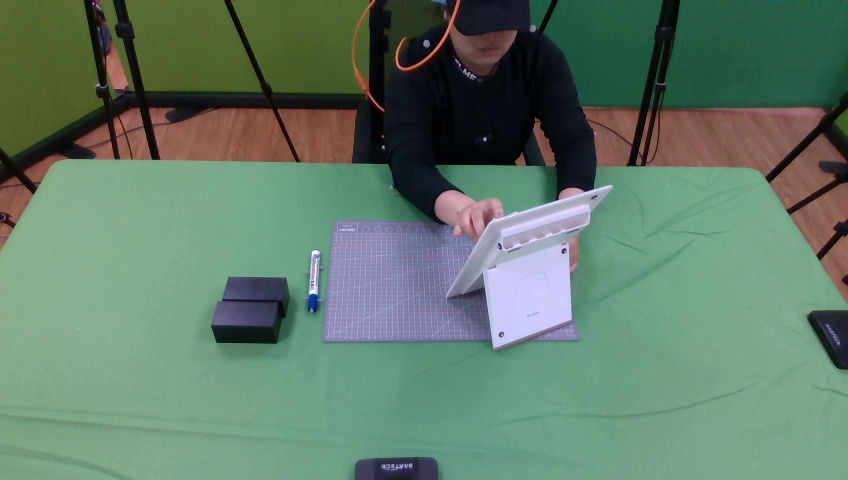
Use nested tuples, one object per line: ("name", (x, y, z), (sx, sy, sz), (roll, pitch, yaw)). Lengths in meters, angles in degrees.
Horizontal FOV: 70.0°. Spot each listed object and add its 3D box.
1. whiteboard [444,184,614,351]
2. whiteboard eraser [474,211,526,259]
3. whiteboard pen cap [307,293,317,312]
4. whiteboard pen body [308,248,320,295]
("whiteboard", (0.186, 0.065, 0.989), (0.217, 0.306, 0.143), (-16, 68, -19))
("whiteboard eraser", (0.124, -0.004, 0.993), (0.056, 0.113, 0.041), (-14, 69, -19))
("whiteboard pen cap", (-0.199, 0.110, 1.078), (0.018, 0.018, 0.033), (-2, 47, -6))
("whiteboard pen body", (-0.204, 0.069, 1.119), (0.017, 0.017, 0.140), (-1, 46, -5))
